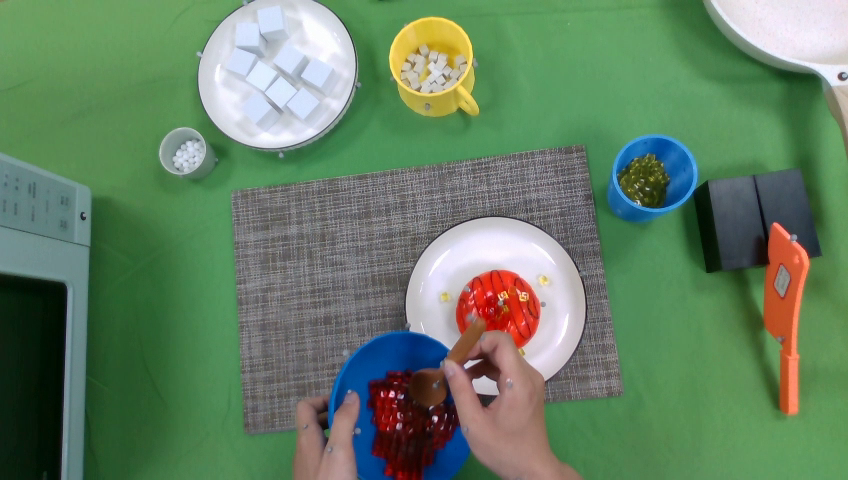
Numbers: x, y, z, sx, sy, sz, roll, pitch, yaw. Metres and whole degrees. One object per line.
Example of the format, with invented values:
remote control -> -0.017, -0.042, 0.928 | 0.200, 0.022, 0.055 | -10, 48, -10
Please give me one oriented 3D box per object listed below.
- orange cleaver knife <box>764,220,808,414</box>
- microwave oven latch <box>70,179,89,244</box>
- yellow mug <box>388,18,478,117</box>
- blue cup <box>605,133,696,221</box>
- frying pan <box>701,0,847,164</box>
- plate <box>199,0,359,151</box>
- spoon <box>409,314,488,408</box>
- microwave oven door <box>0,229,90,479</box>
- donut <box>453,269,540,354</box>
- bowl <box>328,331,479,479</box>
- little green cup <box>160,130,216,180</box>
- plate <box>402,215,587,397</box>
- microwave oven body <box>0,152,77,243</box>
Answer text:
orange cleaver knife -> 0.385, 0.085, 0.651 | 0.012, 0.077, 0.212 | -8, 109, 5
microwave oven latch -> -0.442, -0.035, 0.762 | 0.030, 0.029, 0.079 | -1, 82, 6
yellow mug -> 0.020, -0.200, 0.741 | 0.100, 0.064, 0.130 | -44, 80, -2
blue cup -> 0.243, -0.062, 0.678 | 0.092, 0.100, 0.092 | -1, 80, 5
frying pan -> 0.458, -0.228, 0.678 | 0.306, 0.103, 0.485 | -2, 73, 7
plate -> -0.183, -0.212, 0.780 | 0.207, 0.039, 0.207 | -1, 81, 6
spoon -> 0.022, 0.115, 0.552 | 0.041, 0.194, 0.021 | 36, 57, 7
microwave oven door -> -0.443, 0.166, 0.630 | 0.039, 0.245, 0.354 | -4, 81, 6
donut -> 0.083, 0.082, 0.691 | 0.099, 0.048, 0.099 | -1, 85, 7
bowl -> -0.030, 0.171, 0.601 | 0.152, 0.077, 0.150 | 9, 69, -23
little green cup -> -0.299, -0.106, 0.774 | 0.061, 0.039, 0.061 | -1, 82, 5
plate -> 0.081, 0.075, 0.704 | 0.209, 0.038, 0.208 | -1, 82, 6
microwave oven body -> -0.590, 0.135, 0.655 | 0.326, 0.261, 0.440 | -4, 82, 5
